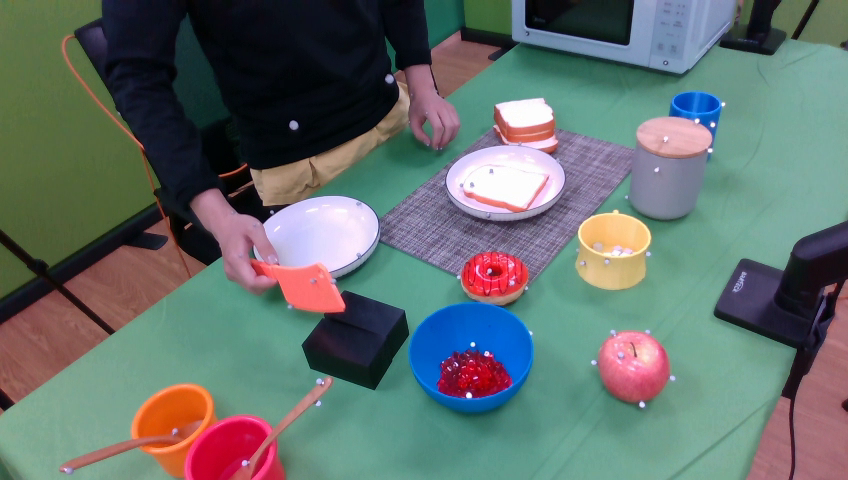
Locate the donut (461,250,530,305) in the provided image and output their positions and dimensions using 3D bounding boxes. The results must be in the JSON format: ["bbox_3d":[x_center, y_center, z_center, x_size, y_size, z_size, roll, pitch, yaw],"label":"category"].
[{"bbox_3d":[0.103,0.053,0.872,0.099,0.048,0.098,-5,40,4],"label":"donut"}]

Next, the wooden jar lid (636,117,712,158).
[{"bbox_3d":[0.377,-0.151,0.917,0.108,0.021,0.108,-2,41,2],"label":"wooden jar lid"}]

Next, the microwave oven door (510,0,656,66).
[{"bbox_3d":[0.350,-0.539,1.348,0.353,0.245,0.039,24,50,31],"label":"microwave oven door"}]

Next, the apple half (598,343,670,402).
[{"bbox_3d":[0.247,0.161,0.710,0.081,0.075,0.053,2,47,5],"label":"apple half"}]

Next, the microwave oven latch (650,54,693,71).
[{"bbox_3d":[0.531,-0.386,1.301,0.078,0.029,0.030,26,51,33],"label":"microwave oven latch"}]

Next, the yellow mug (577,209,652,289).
[{"bbox_3d":[0.279,0.004,0.893,0.099,0.064,0.130,5,41,15],"label":"yellow mug"}]

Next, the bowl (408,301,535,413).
[{"bbox_3d":[0.060,0.156,0.739,0.151,0.077,0.150,-4,40,4],"label":"bowl"}]

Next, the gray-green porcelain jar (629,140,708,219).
[{"bbox_3d":[0.383,-0.105,0.958,0.106,0.127,0.105,-4,41,4],"label":"gray-green porcelain jar"}]

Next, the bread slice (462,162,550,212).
[{"bbox_3d":[0.135,-0.094,1.045,0.133,0.018,0.107,15,45,23],"label":"bread slice"}]

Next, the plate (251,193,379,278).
[{"bbox_3d":[-0.174,-0.001,0.984,0.209,0.038,0.208,-4,40,4],"label":"plate"}]

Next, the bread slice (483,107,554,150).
[{"bbox_3d":[0.186,-0.203,1.161,0.105,0.019,0.130,-22,44,-6],"label":"bread slice"}]

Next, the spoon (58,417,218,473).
[{"bbox_3d":[-0.304,0.221,0.661,0.041,0.195,0.021,19,92,27],"label":"spoon"}]

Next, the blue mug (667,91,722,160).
[{"bbox_3d":[0.474,-0.207,1.079,0.082,0.106,0.116,4,42,13],"label":"blue mug"}]

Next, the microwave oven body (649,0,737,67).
[{"bbox_3d":[0.475,-0.602,1.411,0.438,0.261,0.327,23,50,32],"label":"microwave oven body"}]

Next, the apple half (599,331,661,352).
[{"bbox_3d":[0.249,0.134,0.738,0.081,0.081,0.032,-2,46,7],"label":"apple half"}]

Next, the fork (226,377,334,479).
[{"bbox_3d":[-0.163,0.216,0.646,0.207,0.019,0.028,-49,42,16],"label":"fork"}]

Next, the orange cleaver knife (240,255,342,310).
[{"bbox_3d":[-0.182,0.055,0.810,0.209,0.077,0.012,5,27,44],"label":"orange cleaver knife"}]

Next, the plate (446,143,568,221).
[{"bbox_3d":[0.142,-0.096,1.045,0.207,0.039,0.206,-4,40,4],"label":"plate"}]
